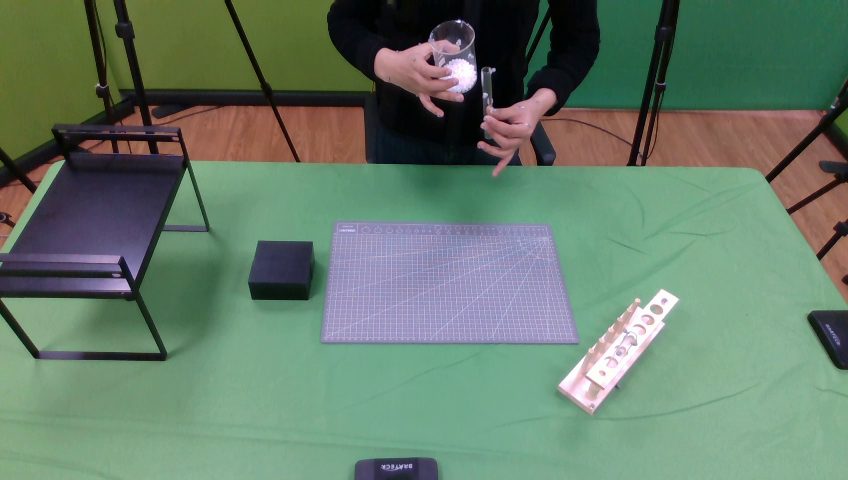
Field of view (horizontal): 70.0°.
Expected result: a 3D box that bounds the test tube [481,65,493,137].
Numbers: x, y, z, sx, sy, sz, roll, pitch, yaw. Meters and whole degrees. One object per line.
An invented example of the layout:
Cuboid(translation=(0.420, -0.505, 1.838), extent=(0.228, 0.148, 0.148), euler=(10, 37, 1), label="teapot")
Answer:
Cuboid(translation=(0.105, -0.226, 1.006), extent=(0.017, 0.151, 0.017), euler=(-4, 54, 6), label="test tube")

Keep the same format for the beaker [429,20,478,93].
Cuboid(translation=(0.053, -0.307, 1.019), extent=(0.074, 0.101, 0.083), euler=(18, 66, 18), label="beaker")

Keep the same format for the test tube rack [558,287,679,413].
Cuboid(translation=(0.326, 0.170, 1.009), extent=(0.066, 0.085, 0.242), euler=(36, 54, 27), label="test tube rack")

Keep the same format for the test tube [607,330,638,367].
Cuboid(translation=(0.293, 0.184, 0.925), extent=(0.017, 0.151, 0.017), euler=(4, 48, -4), label="test tube")
